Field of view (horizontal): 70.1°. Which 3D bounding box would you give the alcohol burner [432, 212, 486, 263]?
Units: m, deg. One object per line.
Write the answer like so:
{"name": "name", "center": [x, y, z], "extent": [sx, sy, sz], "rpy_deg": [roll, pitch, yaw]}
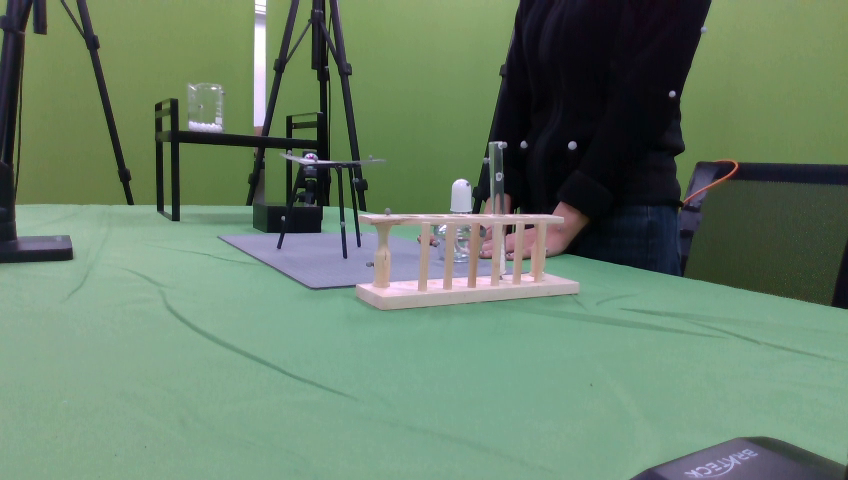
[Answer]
{"name": "alcohol burner", "center": [0.051, -0.027, 0.863], "extent": [0.078, 0.119, 0.078], "rpy_deg": [1, 6, 0]}

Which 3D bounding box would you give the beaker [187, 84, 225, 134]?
{"name": "beaker", "center": [-0.459, -0.274, 1.270], "extent": [0.074, 0.100, 0.084], "rpy_deg": [3, 8, 7]}

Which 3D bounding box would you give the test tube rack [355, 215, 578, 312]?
{"name": "test tube rack", "center": [0.053, 0.018, 0.641], "extent": [0.243, 0.085, 0.066], "rpy_deg": [-1, 8, -29]}

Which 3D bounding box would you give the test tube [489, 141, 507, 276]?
{"name": "test tube", "center": [0.082, -0.034, 0.670], "extent": [0.017, 0.150, 0.017], "rpy_deg": [-3, 7, 1]}

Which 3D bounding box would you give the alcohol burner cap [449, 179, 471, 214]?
{"name": "alcohol burner cap", "center": [0.052, -0.063, 0.858], "extent": [0.034, 0.048, 0.034], "rpy_deg": [2, 13, 0]}

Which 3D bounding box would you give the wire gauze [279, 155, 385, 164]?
{"name": "wire gauze", "center": [-0.134, -0.114, 0.875], "extent": [0.122, 0.011, 0.124], "rpy_deg": [-2, 9, -30]}

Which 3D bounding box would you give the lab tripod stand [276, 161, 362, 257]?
{"name": "lab tripod stand", "center": [-0.143, -0.049, 0.884], "extent": [0.148, 0.131, 0.148], "rpy_deg": [2, 9, 0]}
